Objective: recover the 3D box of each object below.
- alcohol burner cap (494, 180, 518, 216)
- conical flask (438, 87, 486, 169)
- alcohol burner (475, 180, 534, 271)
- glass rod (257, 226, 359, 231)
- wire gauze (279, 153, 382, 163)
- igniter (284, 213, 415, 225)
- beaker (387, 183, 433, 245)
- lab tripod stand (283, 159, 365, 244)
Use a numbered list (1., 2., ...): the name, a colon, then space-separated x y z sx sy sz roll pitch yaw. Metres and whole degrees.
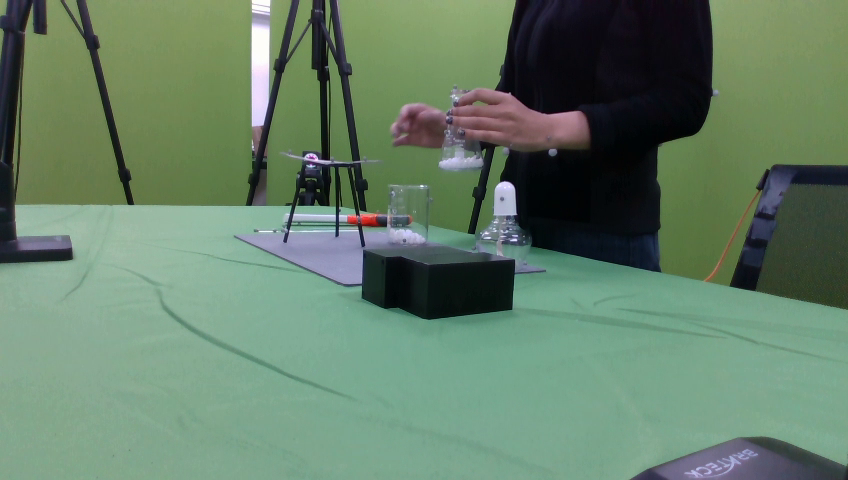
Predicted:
1. alcohol burner cap: 0.108 -0.055 0.800 0.034 0.048 0.034 -2 4 0
2. conical flask: 0.058 -0.170 0.928 0.075 0.122 0.075 0 5 0
3. alcohol burner: 0.108 -0.020 0.803 0.078 0.119 0.078 3 5 0
4. glass rod: -0.216 -0.022 1.151 0.201 0.008 0.008 -2 8 -28
5. wire gauze: -0.149 -0.129 0.974 0.124 0.011 0.122 10 9 41
6. igniter: -0.154 -0.045 1.282 0.278 0.025 0.057 0 -3 -20
7. beaker: -0.027 -0.044 1.012 0.074 0.100 0.083 -2 8 -34
8. lab tripod stand: -0.151 -0.063 0.983 0.148 0.131 0.148 4 7 0
